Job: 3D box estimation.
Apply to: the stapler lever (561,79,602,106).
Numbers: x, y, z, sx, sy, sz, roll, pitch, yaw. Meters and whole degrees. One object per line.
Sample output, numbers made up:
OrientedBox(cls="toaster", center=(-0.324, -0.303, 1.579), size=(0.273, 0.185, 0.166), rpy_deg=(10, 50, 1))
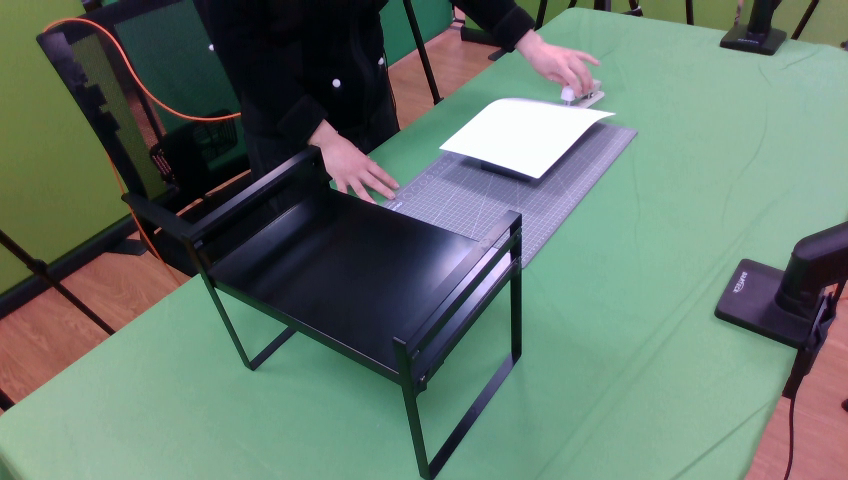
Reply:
OrientedBox(cls="stapler lever", center=(0.327, -0.314, 1.253), size=(0.026, 0.040, 0.118), rpy_deg=(32, 52, 33))

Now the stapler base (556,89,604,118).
OrientedBox(cls="stapler base", center=(0.328, -0.294, 1.267), size=(0.041, 0.024, 0.131), rpy_deg=(33, 51, 33))
